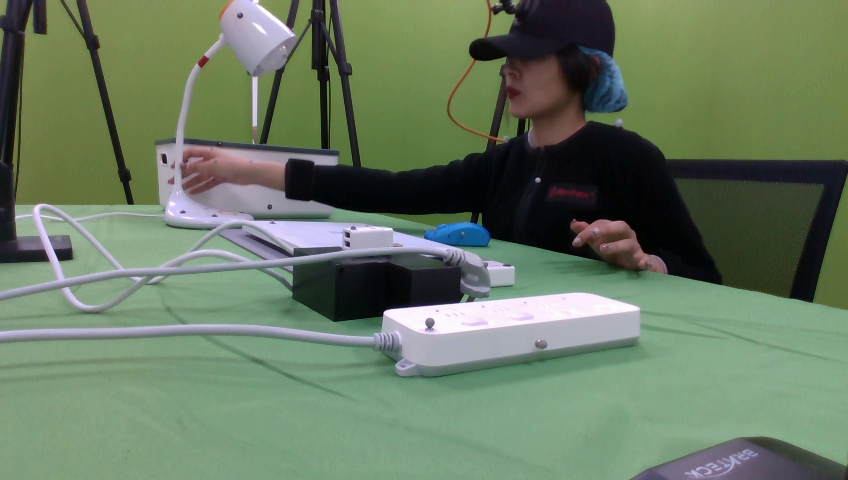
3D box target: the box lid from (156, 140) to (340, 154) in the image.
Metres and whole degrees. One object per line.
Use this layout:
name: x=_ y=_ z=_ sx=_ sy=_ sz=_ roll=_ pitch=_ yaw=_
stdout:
box lid: x=-0.410 y=-0.213 z=1.404 sx=0.373 sy=0.015 sz=0.262 roll=-2 pitch=8 yaw=-32

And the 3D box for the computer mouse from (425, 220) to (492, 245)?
computer mouse: x=0.060 y=-0.013 z=1.060 sx=0.117 sy=0.041 sz=0.062 roll=-2 pitch=10 yaw=-6

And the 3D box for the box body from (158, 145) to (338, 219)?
box body: x=-0.410 y=-0.139 z=1.414 sx=0.366 sy=0.160 sz=0.253 roll=-3 pitch=8 yaw=-32

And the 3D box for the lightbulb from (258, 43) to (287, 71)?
lightbulb: x=-0.295 y=-0.358 z=1.103 sx=0.059 sy=0.107 sz=0.059 roll=-36 pitch=-1 yaw=0

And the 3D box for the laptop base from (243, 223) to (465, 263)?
laptop base: x=-0.127 y=0.003 z=0.945 sx=0.237 sy=0.023 sz=0.352 roll=2 pitch=6 yaw=-31

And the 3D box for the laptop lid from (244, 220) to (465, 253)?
laptop lid: x=-0.124 y=-0.009 z=0.945 sx=0.243 sy=0.013 sz=0.355 roll=1 pitch=7 yaw=-29

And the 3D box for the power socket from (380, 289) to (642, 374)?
power socket: x=0.072 y=0.064 z=0.460 sx=0.228 sy=0.032 sz=0.072 roll=-2 pitch=7 yaw=-30

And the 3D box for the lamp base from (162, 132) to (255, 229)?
lamp base: x=-0.419 y=-0.116 z=1.156 sx=0.179 sy=0.180 sz=0.160 roll=0 pitch=8 yaw=0

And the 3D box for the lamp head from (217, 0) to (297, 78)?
lamp head: x=-0.315 y=-0.372 z=1.102 sx=0.123 sy=0.112 sz=0.112 roll=41 pitch=2 yaw=-9

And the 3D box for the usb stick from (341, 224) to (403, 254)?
usb stick: x=-0.047 y=-0.001 z=0.567 sx=0.059 sy=0.027 sz=0.021 roll=0 pitch=5 yaw=-33

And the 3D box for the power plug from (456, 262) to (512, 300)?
power plug: x=0.052 y=0.051 z=0.543 sx=0.035 sy=0.052 sz=0.072 roll=5 pitch=37 yaw=-20

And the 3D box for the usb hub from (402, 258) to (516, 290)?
usb hub: x=0.042 y=0.038 z=0.690 sx=0.126 sy=0.025 sz=0.049 roll=-2 pitch=9 yaw=-30
